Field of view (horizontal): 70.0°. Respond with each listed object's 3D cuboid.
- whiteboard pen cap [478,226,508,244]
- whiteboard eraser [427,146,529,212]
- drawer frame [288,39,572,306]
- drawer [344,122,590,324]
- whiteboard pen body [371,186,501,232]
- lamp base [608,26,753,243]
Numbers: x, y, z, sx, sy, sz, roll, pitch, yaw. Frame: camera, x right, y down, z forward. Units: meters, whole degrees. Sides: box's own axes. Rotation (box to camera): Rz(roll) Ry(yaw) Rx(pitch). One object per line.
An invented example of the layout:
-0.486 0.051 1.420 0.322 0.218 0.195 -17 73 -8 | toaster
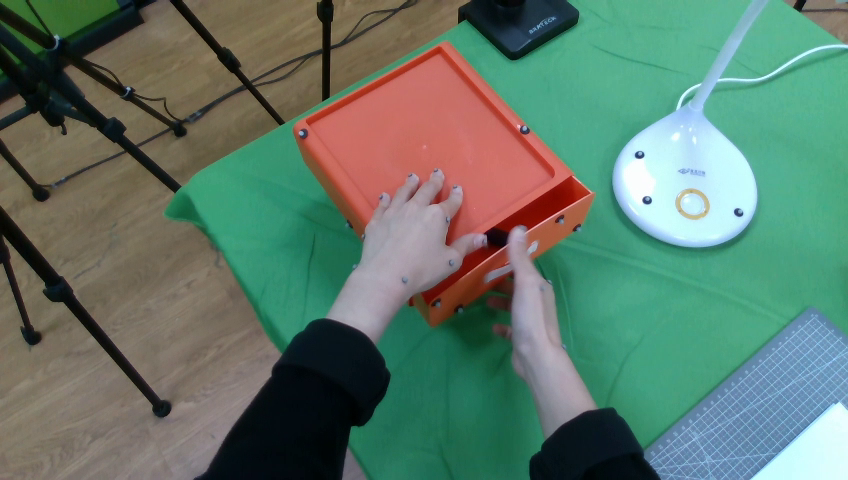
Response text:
0.067 -0.008 0.614 0.033 0.018 0.018 20 65 8 | whiteboard pen cap
0.058 -0.066 0.661 0.111 0.042 0.055 20 72 45 | whiteboard eraser
0.003 -0.074 0.627 0.201 0.083 0.212 -33 69 -13 | drawer frame
0.022 -0.053 0.614 0.194 0.074 0.210 -33 66 -14 | drawer
0.012 -0.030 0.619 0.140 0.017 0.017 18 64 10 | whiteboard pen body
0.289 -0.115 0.631 0.161 0.182 0.177 -3 60 0 | lamp base
